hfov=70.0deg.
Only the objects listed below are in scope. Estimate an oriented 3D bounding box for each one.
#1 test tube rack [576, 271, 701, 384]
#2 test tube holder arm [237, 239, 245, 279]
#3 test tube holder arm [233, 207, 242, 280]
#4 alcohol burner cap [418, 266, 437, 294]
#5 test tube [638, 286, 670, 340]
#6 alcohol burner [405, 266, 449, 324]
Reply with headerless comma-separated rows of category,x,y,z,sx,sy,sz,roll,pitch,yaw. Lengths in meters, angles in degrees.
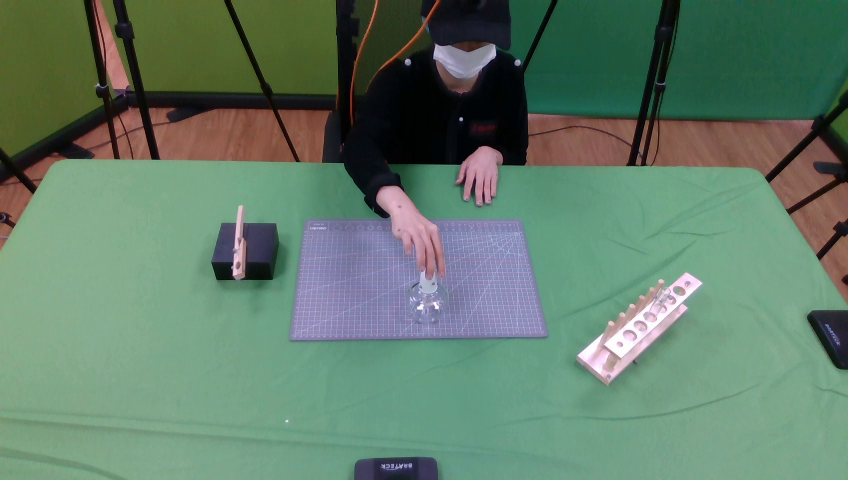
test tube rack,0.373,0.138,1.047,0.242,0.085,0.066,-31,56,-29
test tube holder arm,-0.325,0.032,1.076,0.010,0.015,0.087,-11,47,-5
test tube holder arm,-0.340,0.002,1.106,0.013,0.015,0.177,-12,47,-6
alcohol burner cap,0.006,0.065,1.017,0.034,0.048,0.033,0,47,0
test tube,0.373,0.123,0.994,0.017,0.151,0.017,0,51,0
alcohol burner,0.005,0.089,1.043,0.078,0.120,0.077,1,44,-1
